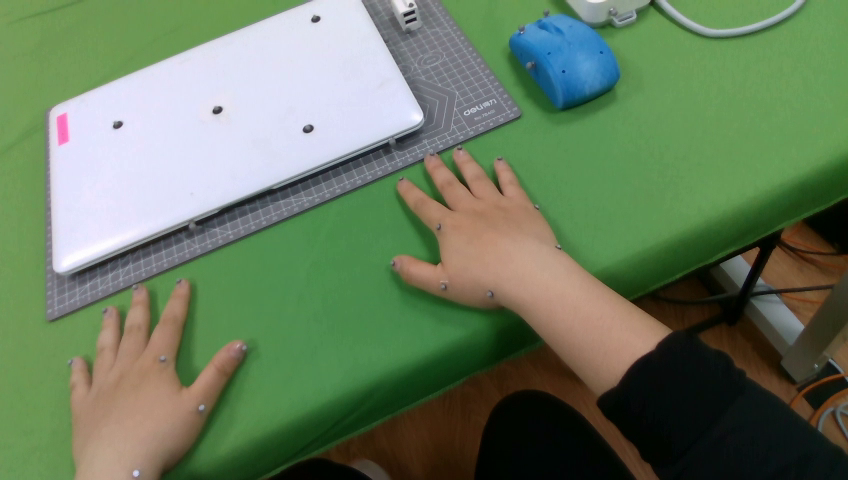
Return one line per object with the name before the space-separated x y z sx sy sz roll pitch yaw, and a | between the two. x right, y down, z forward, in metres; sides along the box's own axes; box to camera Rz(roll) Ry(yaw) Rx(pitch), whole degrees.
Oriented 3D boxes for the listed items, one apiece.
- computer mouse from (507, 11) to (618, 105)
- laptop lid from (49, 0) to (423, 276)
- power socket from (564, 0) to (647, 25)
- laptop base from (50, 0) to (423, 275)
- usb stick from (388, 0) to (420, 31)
computer mouse | 0.124 -0.175 0.556 0.063 0.041 0.116 -25 50 -1
laptop lid | -0.199 -0.124 0.594 0.357 0.013 0.239 -23 57 -2
power socket | 0.156 -0.303 0.637 0.072 0.033 0.224 -22 55 -1
laptop base | -0.198 -0.119 0.605 0.354 0.023 0.233 -24 58 -4
usb stick | -0.025 -0.251 0.645 0.021 0.027 0.058 -23 52 0
